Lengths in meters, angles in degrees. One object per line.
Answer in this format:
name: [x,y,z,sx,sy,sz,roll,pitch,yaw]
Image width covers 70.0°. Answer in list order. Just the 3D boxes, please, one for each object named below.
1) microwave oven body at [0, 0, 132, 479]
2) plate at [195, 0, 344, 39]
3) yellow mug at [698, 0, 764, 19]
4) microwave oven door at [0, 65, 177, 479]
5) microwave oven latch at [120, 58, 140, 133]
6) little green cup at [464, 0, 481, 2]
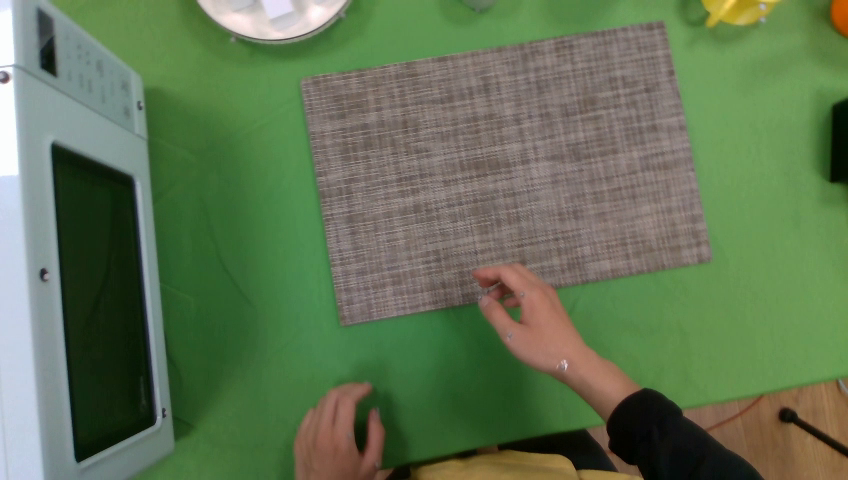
microwave oven body: [-0.466,0.024,0.577,0.326,0.260,0.441,-7,87,-2]
plate: [-0.181,-0.336,0.720,0.208,0.039,0.207,0,87,-1]
yellow mug: [0.371,-0.316,0.717,0.100,0.064,0.131,38,87,2]
microwave oven door: [-0.315,0.048,0.574,0.039,0.244,0.355,-8,86,-1]
microwave oven latch: [-0.343,-0.163,0.687,0.030,0.029,0.079,-5,87,-2]
little green cup: [0.059,-0.318,0.724,0.061,0.038,0.061,0,86,-1]
